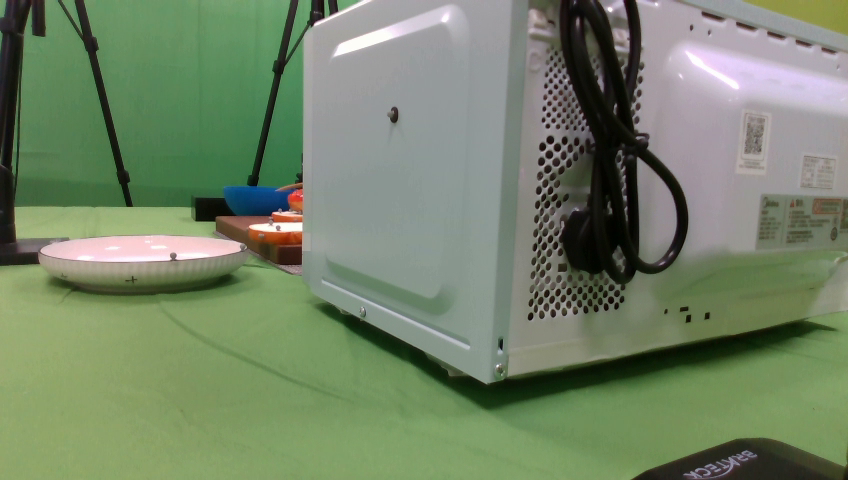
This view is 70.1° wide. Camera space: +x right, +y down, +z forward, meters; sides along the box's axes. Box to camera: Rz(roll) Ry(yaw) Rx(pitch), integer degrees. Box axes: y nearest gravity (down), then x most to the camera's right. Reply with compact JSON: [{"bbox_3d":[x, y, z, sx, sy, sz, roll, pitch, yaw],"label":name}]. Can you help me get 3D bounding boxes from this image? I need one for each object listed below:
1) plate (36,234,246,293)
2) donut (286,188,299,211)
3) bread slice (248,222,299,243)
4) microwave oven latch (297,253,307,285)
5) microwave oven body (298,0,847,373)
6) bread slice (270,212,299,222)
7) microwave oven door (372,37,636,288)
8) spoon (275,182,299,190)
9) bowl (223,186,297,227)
[{"bbox_3d":[-0.305,0.026,0.668,0.208,0.039,0.207,3,7,0],"label":"plate"},{"bbox_3d":[-0.190,-0.068,1.055,0.099,0.048,0.099,3,7,0],"label":"donut"},{"bbox_3d":[-0.174,-0.012,0.844,0.135,0.018,0.106,-6,10,-44],"label":"bread slice"},{"bbox_3d":[-0.082,0.027,0.582,0.079,0.029,0.030,-1,7,-32],"label":"microwave oven latch"},{"bbox_3d":[0.151,-0.055,0.542,0.444,0.260,0.324,-2,7,-33],"label":"microwave oven body"},{"bbox_3d":[-0.197,-0.038,1.051,0.132,0.019,0.104,0,6,-31],"label":"bread slice"},{"bbox_3d":[0.109,-0.080,0.686,0.358,0.243,0.039,-2,9,-33],"label":"microwave oven door"},{"bbox_3d":[-0.300,-0.103,1.266,0.194,0.021,0.041,-24,9,-24],"label":"spoon"},{"bbox_3d":[-0.330,-0.068,1.230,0.151,0.077,0.151,3,7,0],"label":"bowl"}]
